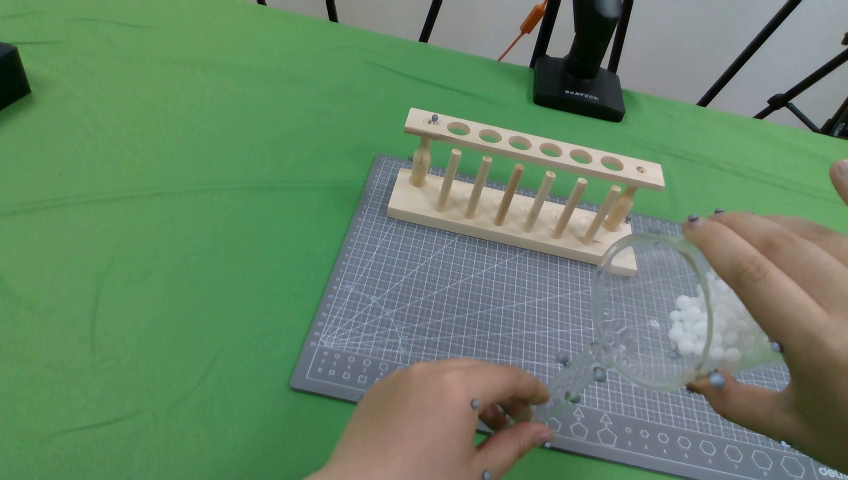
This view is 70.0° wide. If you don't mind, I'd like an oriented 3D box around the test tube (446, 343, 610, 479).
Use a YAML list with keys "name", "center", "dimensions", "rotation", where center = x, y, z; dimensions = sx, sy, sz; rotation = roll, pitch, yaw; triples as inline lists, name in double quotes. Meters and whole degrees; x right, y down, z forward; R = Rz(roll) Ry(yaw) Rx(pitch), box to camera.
- name: "test tube"
  center: [0.055, 0.109, 0.355]
  dimensions: [0.017, 0.151, 0.017]
  rotation: [24, 35, -18]

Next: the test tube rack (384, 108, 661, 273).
- name: "test tube rack"
  center: [0.091, -0.046, 0.577]
  dimensions: [0.242, 0.086, 0.066]
  rotation: [13, 43, -1]

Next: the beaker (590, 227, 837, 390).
- name: "beaker"
  center: [0.145, 0.033, 0.307]
  dimensions: [0.101, 0.084, 0.073]
  rotation: [-3, 53, -26]
